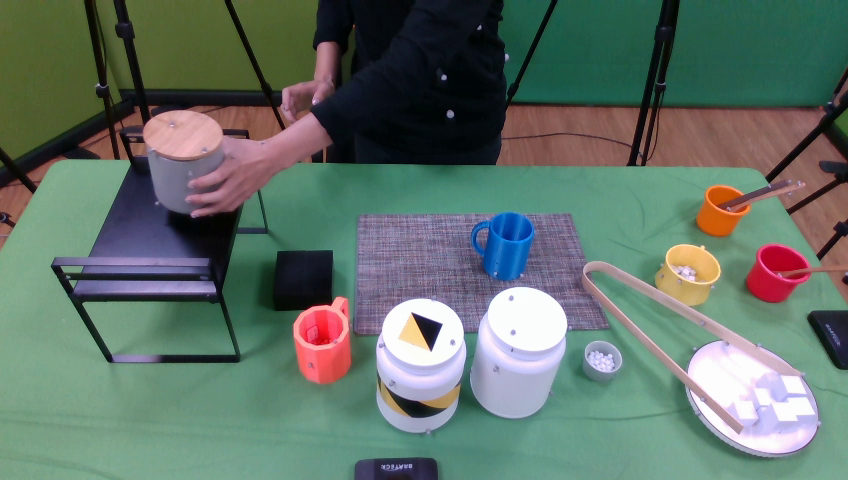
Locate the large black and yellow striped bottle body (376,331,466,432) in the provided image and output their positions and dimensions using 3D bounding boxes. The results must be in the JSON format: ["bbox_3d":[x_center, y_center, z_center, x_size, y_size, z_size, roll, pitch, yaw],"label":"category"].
[{"bbox_3d":[-0.007,0.189,0.905,0.131,0.185,0.130,2,46,-2],"label":"large black and yellow striped bottle body"}]

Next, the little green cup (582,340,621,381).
[{"bbox_3d":[0.295,0.204,1.015,0.061,0.039,0.061,2,45,-2],"label":"little green cup"}]

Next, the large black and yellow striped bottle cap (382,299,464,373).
[{"bbox_3d":[-0.002,0.132,0.843,0.115,0.019,0.114,2,46,-1],"label":"large black and yellow striped bottle cap"}]

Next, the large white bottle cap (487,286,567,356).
[{"bbox_3d":[0.147,0.114,0.869,0.115,0.018,0.114,3,46,-3],"label":"large white bottle cap"}]

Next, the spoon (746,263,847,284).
[{"bbox_3d":[0.696,0.057,1.113,0.193,0.022,0.041,-16,27,48],"label":"spoon"}]

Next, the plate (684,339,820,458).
[{"bbox_3d":[0.523,0.256,0.982,0.208,0.039,0.206,2,46,-2],"label":"plate"}]

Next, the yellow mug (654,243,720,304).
[{"bbox_3d":[0.504,0.054,1.154,0.099,0.064,0.130,28,49,22],"label":"yellow mug"}]

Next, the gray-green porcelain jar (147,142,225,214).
[{"bbox_3d":[-0.364,-0.111,0.936,0.106,0.127,0.105,8,49,-9],"label":"gray-green porcelain jar"}]

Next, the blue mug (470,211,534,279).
[{"bbox_3d":[0.141,0.005,1.140,0.116,0.106,0.082,18,48,13],"label":"blue mug"}]

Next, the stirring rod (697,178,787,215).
[{"bbox_3d":[0.650,-0.088,1.246,0.006,0.176,0.014,29,50,-39],"label":"stirring rod"}]

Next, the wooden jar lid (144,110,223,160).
[{"bbox_3d":[-0.351,-0.150,0.889,0.108,0.021,0.107,9,48,-10],"label":"wooden jar lid"}]

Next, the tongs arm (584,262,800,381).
[{"bbox_3d":[0.452,0.137,1.063,0.051,0.027,0.382,-34,50,-27],"label":"tongs arm"}]

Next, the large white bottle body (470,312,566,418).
[{"bbox_3d":[0.143,0.174,0.930,0.131,0.185,0.130,2,46,-2],"label":"large white bottle body"}]

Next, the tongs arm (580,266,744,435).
[{"bbox_3d":[0.384,0.174,1.028,0.028,0.028,0.385,-25,46,-14],"label":"tongs arm"}]

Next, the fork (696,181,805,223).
[{"bbox_3d":[0.659,-0.077,1.232,0.207,0.019,0.028,-26,35,34],"label":"fork"}]

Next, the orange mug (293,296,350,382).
[{"bbox_3d":[-0.157,0.154,0.985,0.083,0.101,0.125,17,52,11],"label":"orange mug"}]
